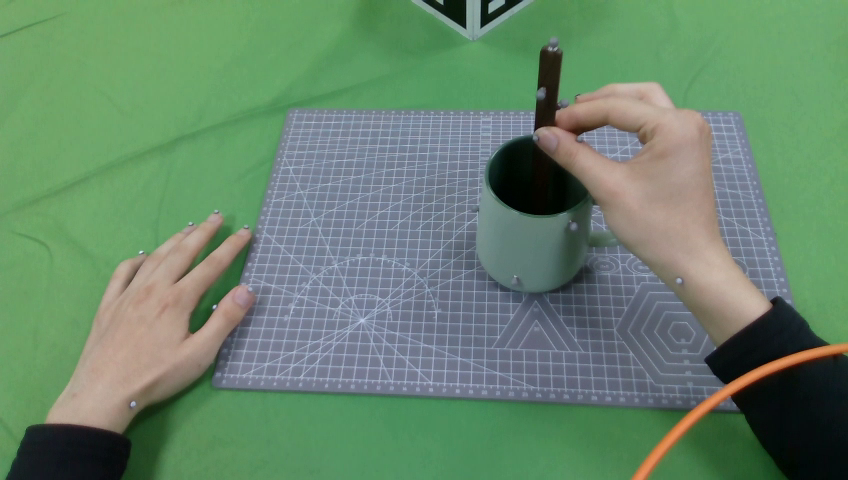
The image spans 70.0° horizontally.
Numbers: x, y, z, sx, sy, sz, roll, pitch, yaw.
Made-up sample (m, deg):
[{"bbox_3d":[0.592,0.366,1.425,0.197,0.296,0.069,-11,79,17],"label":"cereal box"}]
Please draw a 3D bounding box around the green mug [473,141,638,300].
[{"bbox_3d":[0.101,-0.012,0.471,0.125,0.106,0.091,3,56,6],"label":"green mug"}]

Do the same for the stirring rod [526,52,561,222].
[{"bbox_3d":[0.083,-0.062,0.427,0.014,0.178,0.006,18,62,17],"label":"stirring rod"}]
